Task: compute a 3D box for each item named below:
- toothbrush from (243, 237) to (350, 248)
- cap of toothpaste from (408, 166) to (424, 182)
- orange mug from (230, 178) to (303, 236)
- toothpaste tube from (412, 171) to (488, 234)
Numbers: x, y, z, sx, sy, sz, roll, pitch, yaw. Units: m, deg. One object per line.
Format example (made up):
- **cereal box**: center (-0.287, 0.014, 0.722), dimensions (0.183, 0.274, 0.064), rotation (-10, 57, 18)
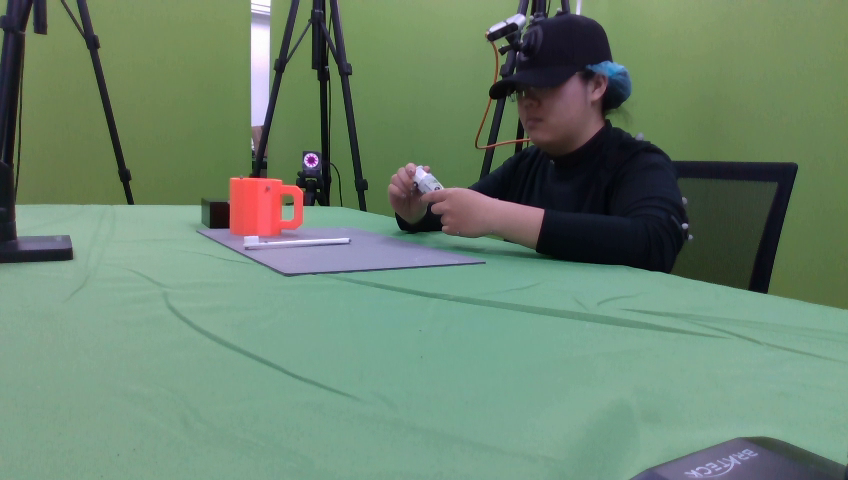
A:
- **toothbrush**: center (-0.191, 0.002, 0.927), dimensions (0.183, 0.016, 0.014), rotation (-2, -7, -41)
- **cap of toothpaste**: center (-0.012, -0.115, 1.065), dimensions (0.011, 0.037, 0.037), rotation (43, 23, 19)
- **orange mug**: center (-0.275, -0.060, 1.058), dimensions (0.126, 0.101, 0.083), rotation (-2, 8, -5)
- **toothpaste tube**: center (0.042, -0.064, 1.040), dimensions (0.164, 0.034, 0.055), rotation (42, 22, 17)
